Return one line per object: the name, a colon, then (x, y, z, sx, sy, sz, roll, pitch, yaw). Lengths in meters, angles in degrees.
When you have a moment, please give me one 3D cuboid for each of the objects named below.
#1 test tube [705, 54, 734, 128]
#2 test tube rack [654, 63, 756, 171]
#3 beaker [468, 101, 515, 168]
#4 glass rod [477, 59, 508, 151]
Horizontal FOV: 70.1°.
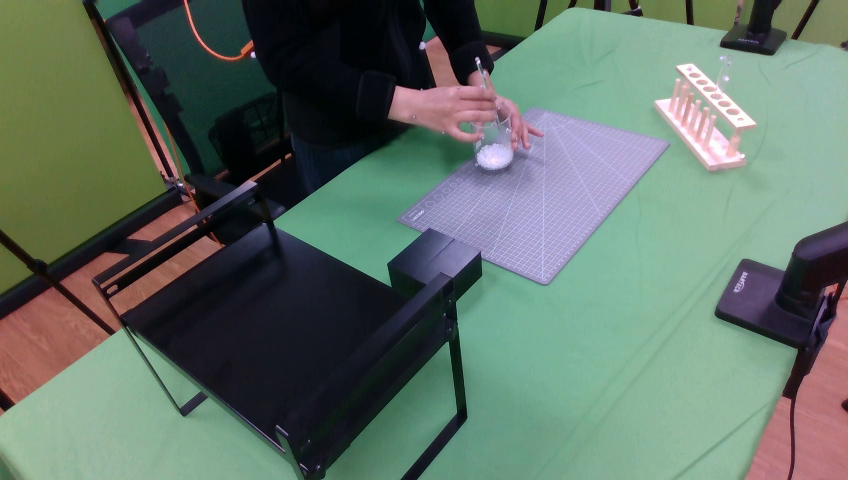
test tube: (0.523, -0.260, 1.073, 0.017, 0.151, 0.017, -4, 46, 4)
test tube rack: (0.510, -0.233, 1.120, 0.067, 0.085, 0.241, -8, 41, -1)
beaker: (0.123, -0.186, 1.072, 0.073, 0.101, 0.084, 9, 49, 22)
glass rod: (0.118, -0.223, 1.023, 0.008, 0.201, 0.008, -12, 49, 15)
